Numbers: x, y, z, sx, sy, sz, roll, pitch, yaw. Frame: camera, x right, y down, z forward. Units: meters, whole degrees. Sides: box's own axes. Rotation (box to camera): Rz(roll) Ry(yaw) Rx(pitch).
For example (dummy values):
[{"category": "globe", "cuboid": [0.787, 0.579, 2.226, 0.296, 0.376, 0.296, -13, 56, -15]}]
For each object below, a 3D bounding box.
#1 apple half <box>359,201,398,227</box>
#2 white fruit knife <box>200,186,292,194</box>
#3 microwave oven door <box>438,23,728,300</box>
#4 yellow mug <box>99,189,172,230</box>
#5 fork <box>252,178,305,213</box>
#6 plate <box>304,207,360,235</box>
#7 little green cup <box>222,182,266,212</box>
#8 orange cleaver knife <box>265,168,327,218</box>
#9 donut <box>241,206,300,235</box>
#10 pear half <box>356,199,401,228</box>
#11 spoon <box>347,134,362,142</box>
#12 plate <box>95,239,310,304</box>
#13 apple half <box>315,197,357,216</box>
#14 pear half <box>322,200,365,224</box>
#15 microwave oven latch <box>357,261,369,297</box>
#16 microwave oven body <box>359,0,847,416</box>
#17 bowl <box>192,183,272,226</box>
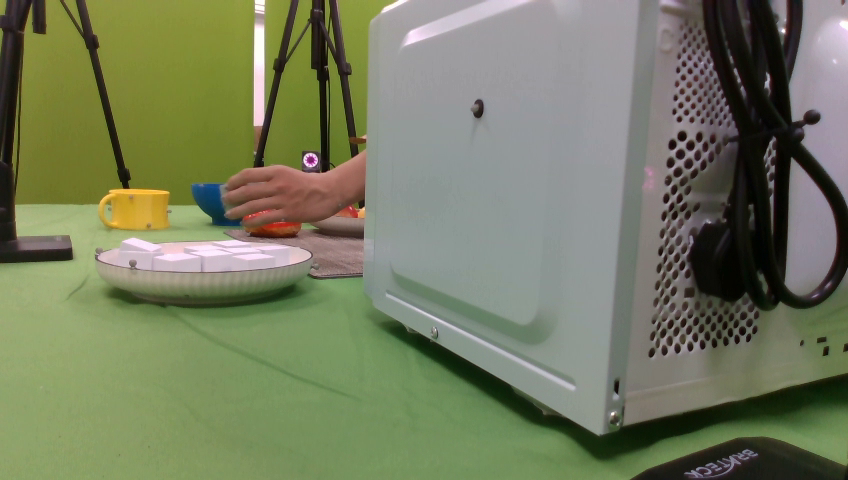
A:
[{"category": "apple half", "cuboid": [-0.088, -0.058, 1.190, 0.081, 0.033, 0.081, 9, 29, -5]}, {"category": "white fruit knife", "cuboid": [-0.399, -0.111, 1.368, 0.208, 0.016, 0.027, -4, -19, -30]}, {"category": "microwave oven door", "cuboid": [0.181, -0.073, 0.620, 0.358, 0.243, 0.039, -2, 8, -29]}, {"category": "yellow mug", "cuboid": [-0.518, -0.055, 1.080, 0.099, 0.064, 0.131, 6, 9, 26]}, {"category": "fork", "cuboid": [-0.295, -0.084, 1.292, 0.206, 0.018, 0.028, 29, 10, 25]}, {"category": "plate", "cuboid": [-0.123, -0.037, 1.149, 0.209, 0.038, 0.209, 2, 7, 0]}, {"category": "little green cup", "cuboid": [-0.255, -0.061, 0.864, 0.061, 0.038, 0.061, -6, 5, 1]}, {"category": "orange cleaver knife", "cuboid": [-0.263, -0.087, 1.353, 0.211, 0.077, 0.012, 28, 13, -1]}, {"category": "donut", "cuboid": [-0.263, -0.032, 1.039, 0.099, 0.048, 0.099, 4, 10, 0]}, {"category": "pear half", "cuboid": [-0.075, -0.046, 1.132, 0.076, 0.056, 0.110, 12, 4, 31]}, {"category": "spoon", "cuboid": [-0.108, -0.247, 1.363, 0.041, 0.021, 0.194, 2, 23, 31]}, {"category": "plate", "cuboid": [-0.224, 0.031, 0.629, 0.208, 0.039, 0.207, 2, 8, 0]}, {"category": "apple half", "cuboid": [-0.162, -0.052, 1.121, 0.081, 0.053, 0.074, 4, 7, -14]}, {"category": "pear half", "cuboid": [-0.157, -0.059, 1.197, 0.088, 0.031, 0.070, 12, 30, -4]}, {"category": "microwave oven latch", "cuboid": [-0.019, 0.033, 0.531, 0.079, 0.029, 0.030, -1, 7, -27]}, {"category": "microwave oven body", "cuboid": [0.211, -0.047, 0.474, 0.444, 0.260, 0.324, -1, 7, -28]}, {"category": "bowl", "cuboid": [-0.381, -0.071, 1.202, 0.151, 0.077, 0.151, 3, 7, 0]}]
